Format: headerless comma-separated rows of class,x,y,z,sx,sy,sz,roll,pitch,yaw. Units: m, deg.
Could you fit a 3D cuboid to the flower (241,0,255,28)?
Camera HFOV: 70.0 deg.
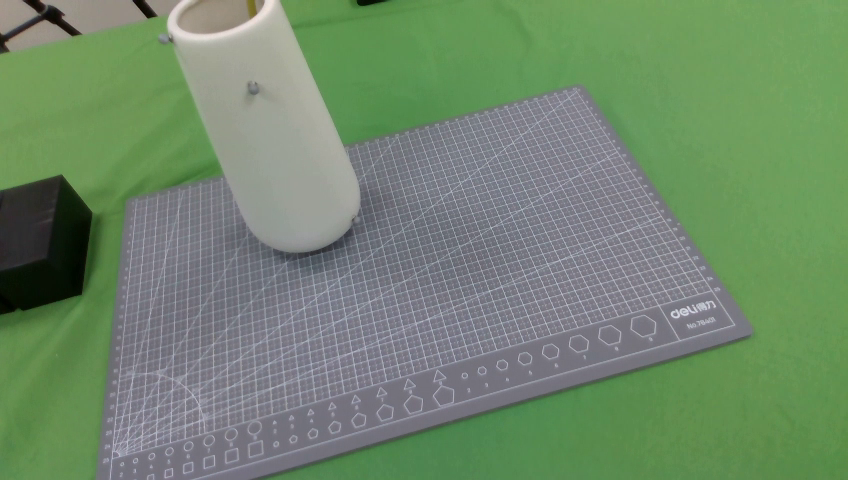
flower,-0.112,-0.141,0.393,0.044,0.364,0.038,10,36,13

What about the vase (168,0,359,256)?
vase,-0.113,-0.078,0.450,0.098,0.202,0.097,-5,49,6
